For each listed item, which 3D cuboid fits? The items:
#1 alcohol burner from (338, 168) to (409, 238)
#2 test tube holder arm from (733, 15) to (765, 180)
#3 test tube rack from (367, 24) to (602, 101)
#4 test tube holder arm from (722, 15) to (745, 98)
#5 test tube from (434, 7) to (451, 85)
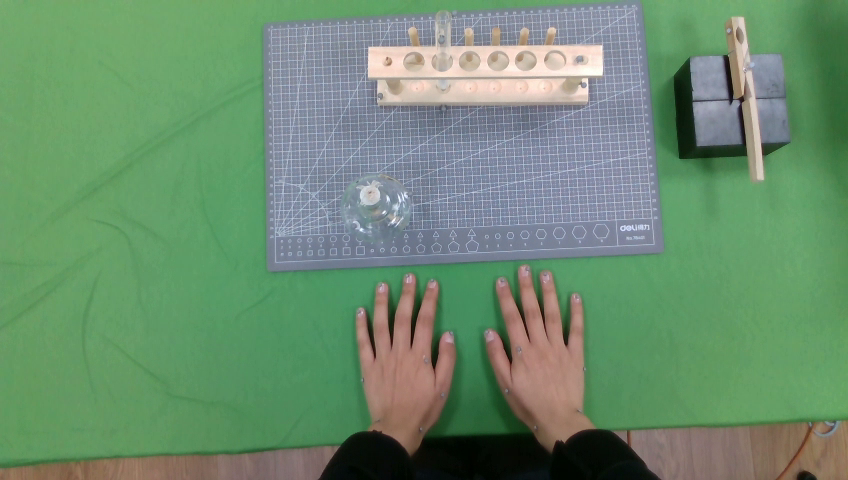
[{"bbox_3d":[-0.055,-0.042,0.641,0.078,0.119,0.077,0,82,1],"label":"alcohol burner"},{"bbox_3d":[0.343,-0.152,0.644,0.013,0.015,0.178,-7,85,-3],"label":"test tube holder arm"},{"bbox_3d":[0.064,-0.199,0.669,0.242,0.085,0.066,0,84,2],"label":"test tube rack"},{"bbox_3d":[0.332,-0.196,0.648,0.010,0.015,0.087,-6,84,-3],"label":"test tube holder arm"},{"bbox_3d":[0.018,-0.194,0.620,0.017,0.150,0.017,0,82,1],"label":"test tube"}]
